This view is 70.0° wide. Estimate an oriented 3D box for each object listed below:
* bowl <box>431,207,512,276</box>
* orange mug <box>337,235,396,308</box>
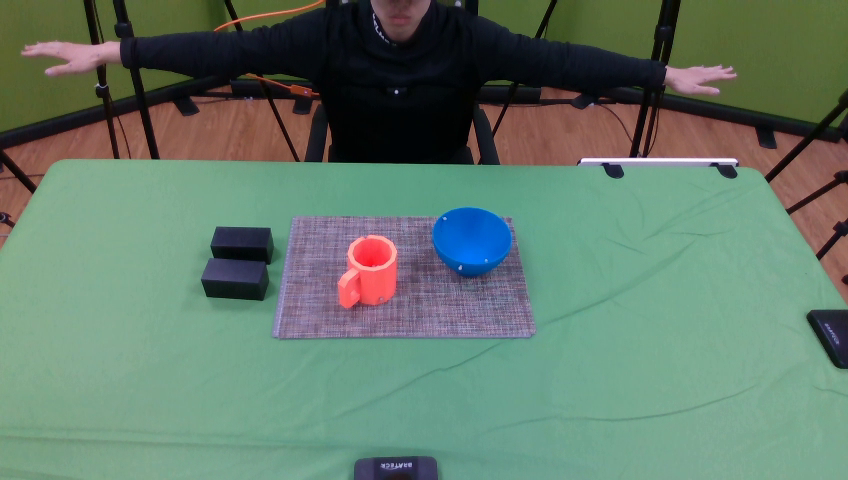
[{"bbox_3d":[0.086,0.016,1.147,0.151,0.077,0.150,2,46,-2],"label":"bowl"},{"bbox_3d":[-0.104,0.063,1.073,0.083,0.101,0.126,32,48,24],"label":"orange mug"}]
